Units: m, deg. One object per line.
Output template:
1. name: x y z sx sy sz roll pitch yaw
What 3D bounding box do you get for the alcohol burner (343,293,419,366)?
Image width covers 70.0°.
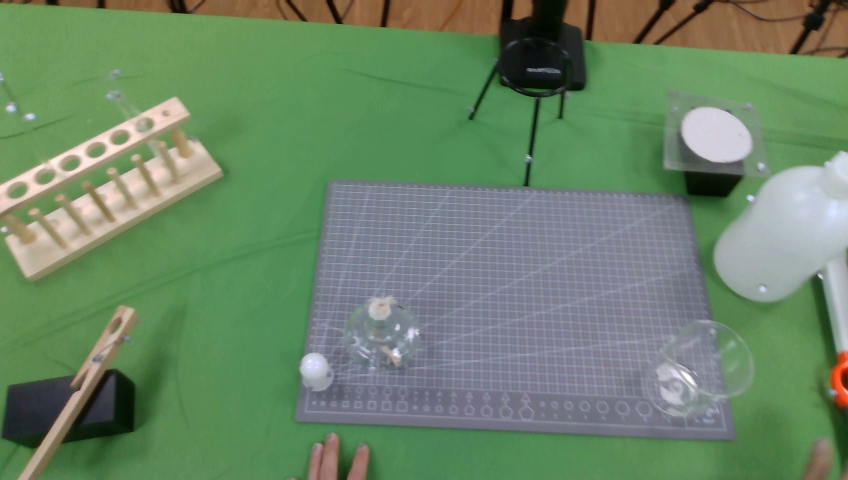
1. alcohol burner: -0.043 0.083 0.605 0.078 0.120 0.077 2 60 -3

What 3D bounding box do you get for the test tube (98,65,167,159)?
1. test tube: -0.319 -0.138 0.678 0.017 0.151 0.017 -1 63 2

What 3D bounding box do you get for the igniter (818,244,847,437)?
1. igniter: 0.459 0.125 0.651 0.057 0.025 0.274 10 62 -2

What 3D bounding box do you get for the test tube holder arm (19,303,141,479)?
1. test tube holder arm: -0.319 0.139 0.568 0.013 0.015 0.177 13 62 13

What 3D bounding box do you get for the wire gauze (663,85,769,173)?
1. wire gauze: 0.356 -0.136 0.745 0.121 0.011 0.124 10 61 3

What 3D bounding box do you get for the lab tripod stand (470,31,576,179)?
1. lab tripod stand: 0.128 -0.170 0.741 0.148 0.132 0.147 2 62 -3

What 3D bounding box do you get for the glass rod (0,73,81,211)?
1. glass rod: -0.396 -0.091 0.631 0.008 0.201 0.008 3 53 -4

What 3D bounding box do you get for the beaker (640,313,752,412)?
1. beaker: 0.260 0.125 0.600 0.084 0.101 0.073 8 61 4

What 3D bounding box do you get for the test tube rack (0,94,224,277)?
1. test tube rack: -0.363 -0.064 0.692 0.242 0.086 0.066 -34 68 -18

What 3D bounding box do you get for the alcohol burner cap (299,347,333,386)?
1. alcohol burner cap: -0.112 0.128 0.619 0.034 0.048 0.033 1 61 -1

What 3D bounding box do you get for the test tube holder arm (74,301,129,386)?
1. test tube holder arm: -0.311 0.101 0.590 0.010 0.015 0.087 12 62 12

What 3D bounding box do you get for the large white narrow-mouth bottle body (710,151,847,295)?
1. large white narrow-mouth bottle body: 0.387 -0.023 0.634 0.102 0.196 0.101 1 61 -1

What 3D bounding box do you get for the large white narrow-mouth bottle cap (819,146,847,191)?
1. large white narrow-mouth bottle cap: 0.389 -0.066 0.559 0.038 0.024 0.037 1 61 -1
